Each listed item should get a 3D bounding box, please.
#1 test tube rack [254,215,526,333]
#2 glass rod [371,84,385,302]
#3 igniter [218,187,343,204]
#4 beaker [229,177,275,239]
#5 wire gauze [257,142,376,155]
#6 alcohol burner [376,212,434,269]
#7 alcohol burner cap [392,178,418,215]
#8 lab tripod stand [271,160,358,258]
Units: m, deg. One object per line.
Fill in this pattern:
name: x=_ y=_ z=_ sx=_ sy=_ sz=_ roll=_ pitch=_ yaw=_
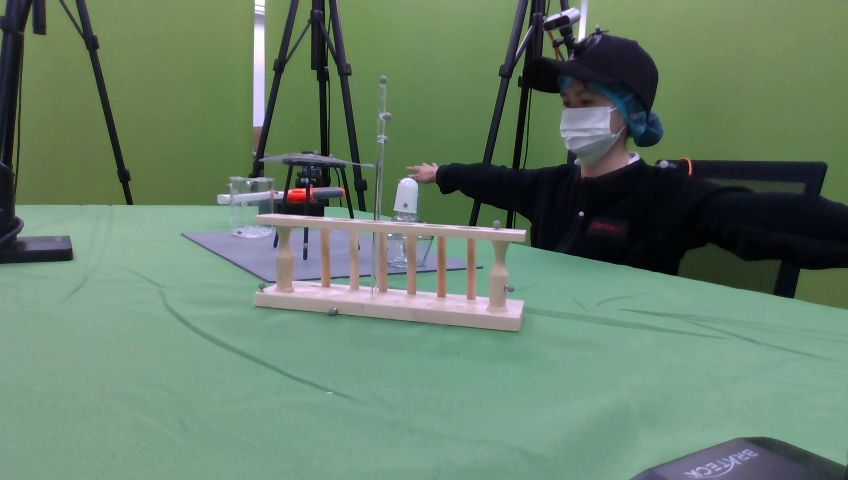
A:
test tube rack: x=-0.030 y=0.025 z=0.558 sx=0.242 sy=0.085 sz=0.067 roll=4 pitch=7 yaw=12
glass rod: x=-0.041 y=-0.041 z=0.548 sx=0.008 sy=0.199 sz=0.008 roll=2 pitch=2 yaw=0
igniter: x=-0.287 y=-0.093 z=1.257 sx=0.278 sy=0.025 sz=0.057 roll=-8 pitch=12 yaw=-41
beaker: x=-0.292 y=-0.056 z=1.023 sx=0.074 sy=0.100 sz=0.083 roll=-1 pitch=8 yaw=-26
wire gauze: x=-0.155 y=-0.130 z=0.871 sx=0.124 sy=0.011 sz=0.122 roll=-1 pitch=7 yaw=36
alcohol burner: x=-0.025 y=-0.022 z=0.800 sx=0.078 sy=0.119 sz=0.078 roll=1 pitch=6 yaw=0
alcohol burner cap: x=-0.023 y=-0.057 z=0.795 sx=0.034 sy=0.048 sz=0.034 roll=7 pitch=6 yaw=0
lab tripod stand: x=-0.159 y=-0.048 z=0.876 sx=0.148 sy=0.131 sz=0.148 roll=3 pitch=5 yaw=0
